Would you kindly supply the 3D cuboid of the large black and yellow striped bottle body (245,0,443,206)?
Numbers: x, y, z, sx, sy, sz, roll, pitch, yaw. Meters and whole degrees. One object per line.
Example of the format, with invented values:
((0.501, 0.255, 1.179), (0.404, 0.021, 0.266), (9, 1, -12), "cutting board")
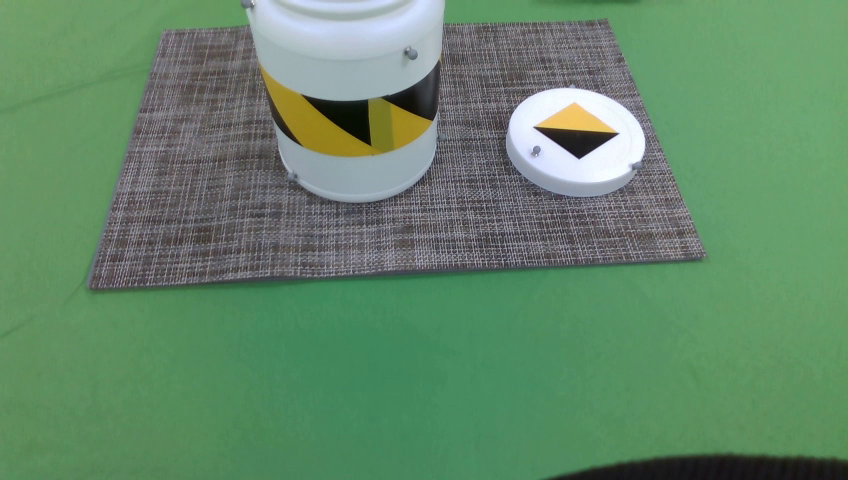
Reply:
((-0.053, -0.129, 0.438), (0.131, 0.185, 0.129), (1, 53, -1), "large black and yellow striped bottle body")

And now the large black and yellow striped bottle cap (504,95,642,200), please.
((0.126, -0.081, 0.515), (0.115, 0.019, 0.114), (2, 52, -2), "large black and yellow striped bottle cap")
